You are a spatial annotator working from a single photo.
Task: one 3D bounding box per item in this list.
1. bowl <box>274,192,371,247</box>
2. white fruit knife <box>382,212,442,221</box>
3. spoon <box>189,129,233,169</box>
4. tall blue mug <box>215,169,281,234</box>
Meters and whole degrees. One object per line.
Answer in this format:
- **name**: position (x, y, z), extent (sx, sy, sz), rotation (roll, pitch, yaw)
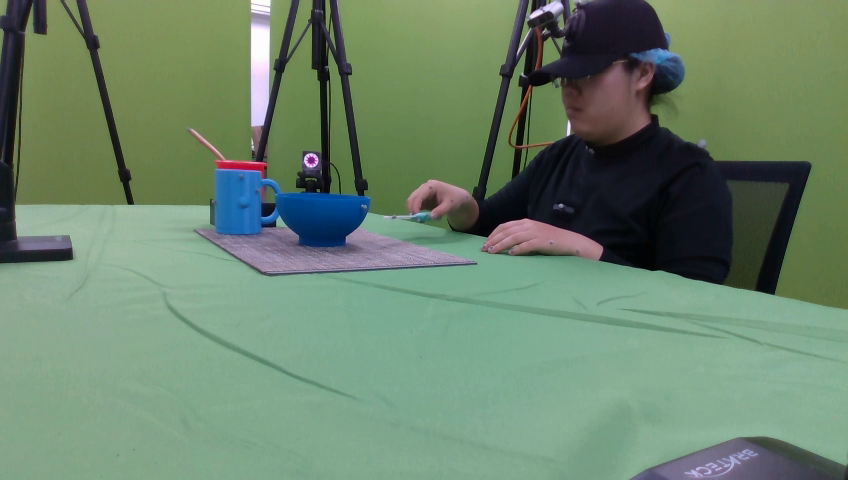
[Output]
- **bowl**: position (-0.161, -0.033, 0.958), extent (0.151, 0.077, 0.151), rotation (3, 8, 0)
- **white fruit knife**: position (-0.017, -0.039, 1.054), extent (0.027, 0.016, 0.208), rotation (-15, -3, 27)
- **spoon**: position (-0.388, -0.150, 1.174), extent (0.193, 0.021, 0.042), rotation (49, 20, 7)
- **tall blue mug**: position (-0.313, -0.069, 1.061), extent (0.077, 0.108, 0.108), rotation (6, 8, 31)
